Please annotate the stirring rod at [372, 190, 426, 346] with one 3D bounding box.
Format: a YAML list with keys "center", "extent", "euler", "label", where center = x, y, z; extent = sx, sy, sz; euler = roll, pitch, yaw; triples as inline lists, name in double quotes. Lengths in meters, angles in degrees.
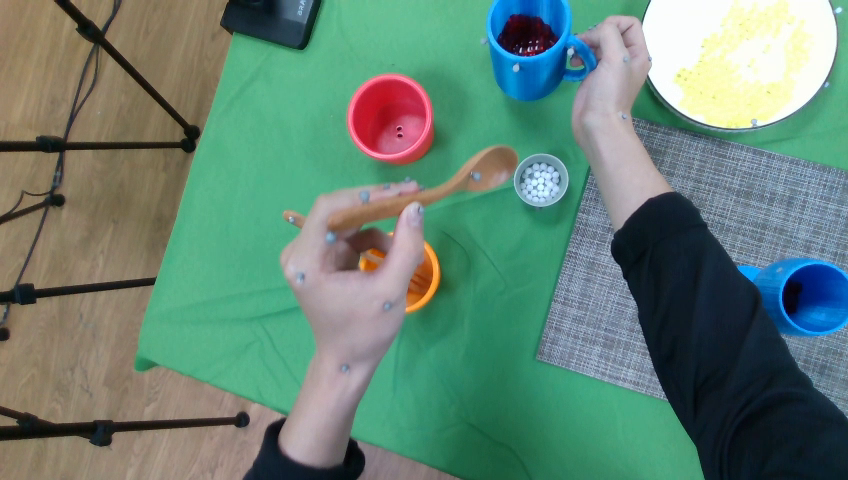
- center: [-0.028, 0.030, 0.662]
  extent: [0.014, 0.006, 0.176]
  euler: [16, 89, 10]
  label: "stirring rod"

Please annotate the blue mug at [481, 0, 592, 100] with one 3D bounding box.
- center: [0.121, -0.199, 0.638]
  extent: [0.116, 0.106, 0.082]
  euler: [24, 87, 12]
  label: "blue mug"

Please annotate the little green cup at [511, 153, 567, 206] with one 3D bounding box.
- center: [0.133, -0.067, 0.701]
  extent: [0.061, 0.039, 0.061]
  euler: [0, 87, 9]
  label: "little green cup"

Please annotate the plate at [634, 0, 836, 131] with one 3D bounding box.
- center: [0.341, -0.223, 0.679]
  extent: [0.209, 0.038, 0.209]
  euler: [0, 88, 8]
  label: "plate"

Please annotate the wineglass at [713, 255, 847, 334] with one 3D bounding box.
- center: [0.343, 0.052, 0.593]
  extent: [0.073, 0.173, 0.073]
  euler: [0, 86, 9]
  label: "wineglass"

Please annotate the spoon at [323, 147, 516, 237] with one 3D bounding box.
- center: [0.007, -0.031, 0.398]
  extent: [0.021, 0.194, 0.042]
  euler: [41, 126, 17]
  label: "spoon"

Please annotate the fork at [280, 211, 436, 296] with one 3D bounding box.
- center: [-0.067, 0.016, 0.670]
  extent: [0.209, 0.018, 0.028]
  euler: [29, 98, -35]
  label: "fork"
